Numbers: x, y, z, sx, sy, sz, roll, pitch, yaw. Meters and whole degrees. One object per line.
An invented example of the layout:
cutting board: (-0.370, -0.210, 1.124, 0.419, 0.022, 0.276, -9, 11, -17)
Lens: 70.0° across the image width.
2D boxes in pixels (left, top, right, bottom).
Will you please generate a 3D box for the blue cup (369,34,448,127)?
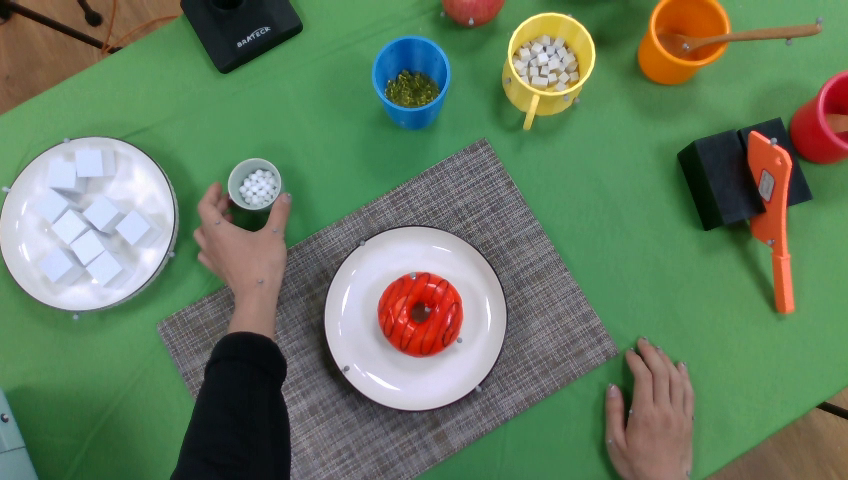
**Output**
blue cup: (-0.016, -0.174, 0.698, 0.092, 0.100, 0.092, 0, 83, 0)

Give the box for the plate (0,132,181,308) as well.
plate: (-0.386, -0.022, 0.715, 0.208, 0.039, 0.207, 0, 82, 1)

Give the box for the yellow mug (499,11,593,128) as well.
yellow mug: (0.137, -0.194, 0.716, 0.100, 0.064, 0.130, 18, 84, 3)

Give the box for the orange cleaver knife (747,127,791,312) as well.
orange cleaver knife: (0.386, -0.021, 0.681, 0.012, 0.076, 0.213, -15, 111, 1)

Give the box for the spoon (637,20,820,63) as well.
spoon: (0.331, -0.226, 0.677, 0.022, 0.192, 0.041, 24, 80, -40)

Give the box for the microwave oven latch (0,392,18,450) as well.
microwave oven latch: (-0.479, 0.193, 0.667, 0.030, 0.029, 0.079, -24, 83, -3)

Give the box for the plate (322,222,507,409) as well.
plate: (-0.010, 0.084, 0.690, 0.209, 0.038, 0.208, 0, 82, 1)

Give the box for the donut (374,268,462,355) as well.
donut: (-0.006, 0.080, 0.680, 0.099, 0.048, 0.099, 0, 83, 2)

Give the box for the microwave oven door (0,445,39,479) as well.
microwave oven door: (-0.381, 0.372, 0.538, 0.039, 0.244, 0.354, -28, 82, -3)

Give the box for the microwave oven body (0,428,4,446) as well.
microwave oven body: (-0.530, 0.401, 0.541, 0.326, 0.261, 0.440, -27, 83, -4)

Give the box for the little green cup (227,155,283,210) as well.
little green cup: (-0.197, -0.065, 0.716, 0.061, 0.039, 0.061, 0, 78, 2)

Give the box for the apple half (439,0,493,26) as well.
apple half: (0.044, -0.295, 0.729, 0.053, 0.075, 0.080, -25, 85, 0)

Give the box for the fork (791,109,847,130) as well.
fork: (0.518, -0.131, 0.662, 0.205, 0.019, 0.028, 12, 68, 45)

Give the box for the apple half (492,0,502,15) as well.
apple half: (0.080, -0.312, 0.729, 0.033, 0.081, 0.081, -24, 82, 0)
